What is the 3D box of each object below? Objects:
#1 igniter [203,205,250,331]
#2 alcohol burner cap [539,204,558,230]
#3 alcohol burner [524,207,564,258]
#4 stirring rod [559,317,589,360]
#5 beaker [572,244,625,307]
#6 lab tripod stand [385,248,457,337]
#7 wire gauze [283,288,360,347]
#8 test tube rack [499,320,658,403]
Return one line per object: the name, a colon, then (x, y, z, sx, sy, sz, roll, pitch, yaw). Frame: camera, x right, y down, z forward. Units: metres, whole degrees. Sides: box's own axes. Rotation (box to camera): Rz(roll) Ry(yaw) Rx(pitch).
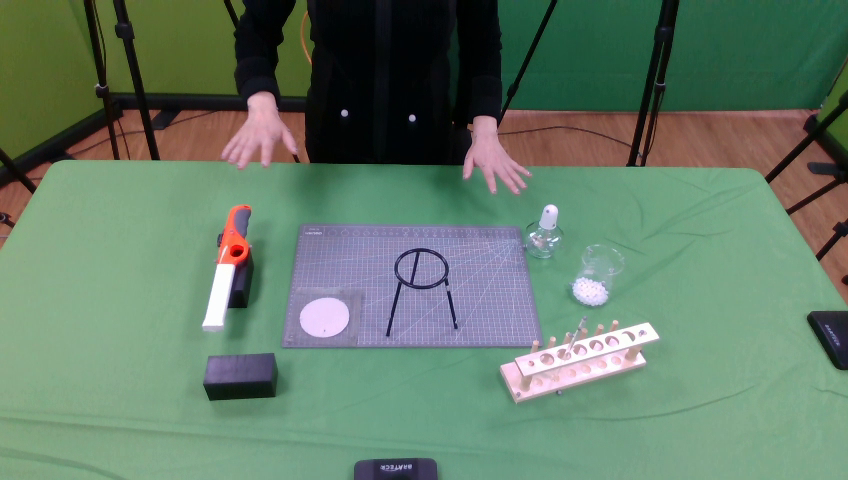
igniter: (-0.345, 0.038, 1.065, 0.057, 0.025, 0.274, 3, 49, -6)
alcohol burner cap: (0.238, -0.046, 1.148, 0.034, 0.048, 0.033, 2, 42, -1)
alcohol burner: (0.236, -0.021, 1.174, 0.078, 0.120, 0.077, 1, 48, -1)
stirring rod: (0.221, 0.155, 0.912, 0.014, 0.177, 0.006, 5, 58, 2)
beaker: (0.315, 0.067, 1.105, 0.084, 0.101, 0.073, -9, 48, -13)
lab tripod stand: (-0.010, 0.087, 1.032, 0.148, 0.132, 0.147, 1, 45, -1)
wire gauze: (-0.178, 0.132, 1.063, 0.125, 0.011, 0.120, 2, 46, 1)
test tube rack: (0.252, 0.187, 0.994, 0.243, 0.085, 0.066, -12, 48, -15)
